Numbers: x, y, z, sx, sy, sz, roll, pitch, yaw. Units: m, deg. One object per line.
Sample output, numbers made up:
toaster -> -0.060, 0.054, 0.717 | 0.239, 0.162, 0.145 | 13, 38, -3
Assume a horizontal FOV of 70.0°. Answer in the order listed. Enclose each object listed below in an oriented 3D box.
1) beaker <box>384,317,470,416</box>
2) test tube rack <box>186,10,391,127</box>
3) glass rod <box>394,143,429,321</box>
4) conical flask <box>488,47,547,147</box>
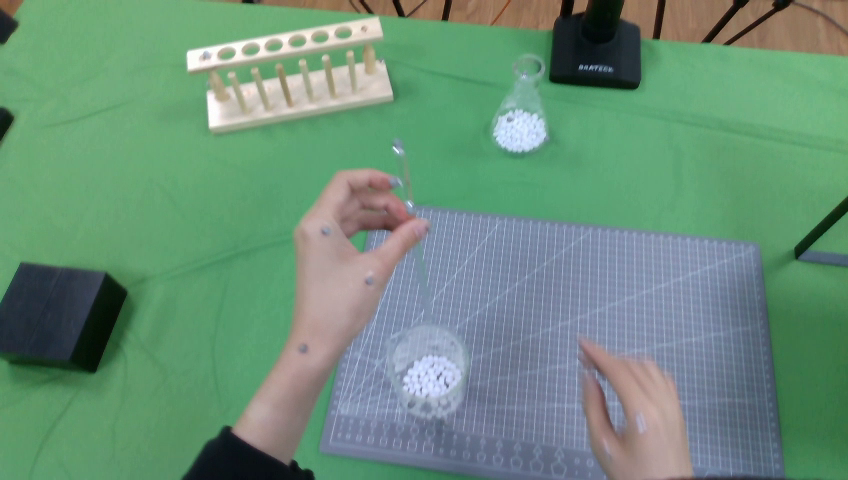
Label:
beaker -> 0.002, 0.125, 0.588 | 0.083, 0.101, 0.073 | 25, 66, 15
test tube rack -> -0.170, -0.221, 0.783 | 0.242, 0.086, 0.066 | -12, 63, -4
glass rod -> -0.008, 0.005, 0.452 | 0.008, 0.201, 0.008 | -3, 50, 4
conical flask -> 0.118, -0.175, 0.731 | 0.075, 0.123, 0.074 | -1, 62, 2
